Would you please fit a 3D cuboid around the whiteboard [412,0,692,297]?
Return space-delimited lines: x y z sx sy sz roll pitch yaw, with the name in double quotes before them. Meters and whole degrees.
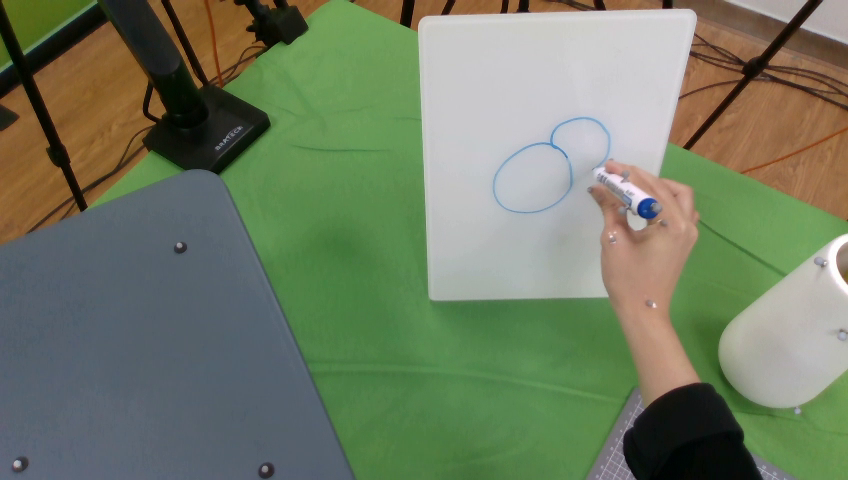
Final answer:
"whiteboard" 0.104 -0.103 0.610 0.217 0.308 0.142 -1 40 1

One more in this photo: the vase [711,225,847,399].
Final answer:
"vase" 0.330 0.067 0.529 0.098 0.202 0.097 -1 57 2

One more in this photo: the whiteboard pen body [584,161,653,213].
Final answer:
"whiteboard pen body" 0.150 -0.047 0.486 0.017 0.017 0.140 -4 19 -1

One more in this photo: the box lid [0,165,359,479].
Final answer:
"box lid" -0.226 0.112 0.447 0.263 0.015 0.368 -25 62 -14

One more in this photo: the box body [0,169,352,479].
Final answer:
"box body" -0.223 0.152 0.510 0.254 0.162 0.360 -25 62 -13

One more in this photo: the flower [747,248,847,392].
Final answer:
"flower" 0.329 0.010 0.466 0.044 0.365 0.038 23 45 18
